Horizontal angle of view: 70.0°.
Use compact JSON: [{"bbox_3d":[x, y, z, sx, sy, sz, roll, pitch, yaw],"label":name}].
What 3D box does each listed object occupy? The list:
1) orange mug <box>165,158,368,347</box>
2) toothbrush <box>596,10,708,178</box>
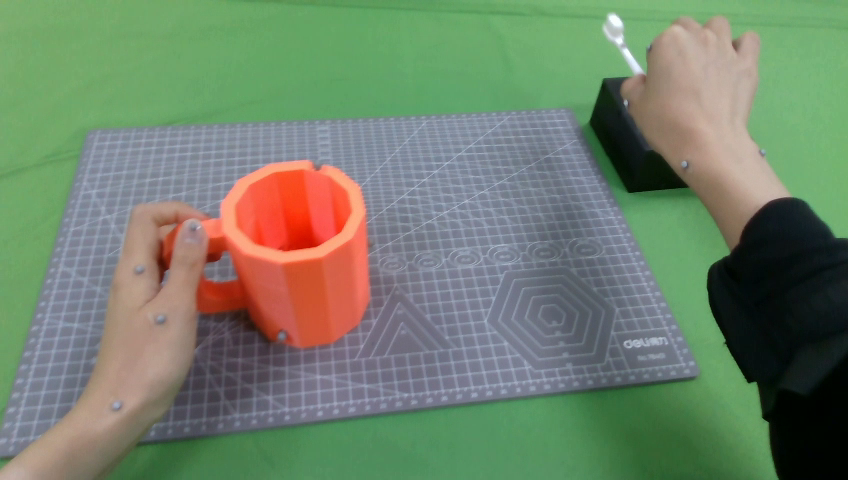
[{"bbox_3d":[-0.098,0.012,0.399,0.126,0.101,0.082,-6,51,-15],"label":"orange mug"},{"bbox_3d":[0.169,-0.116,0.458,0.014,0.017,0.180,-11,56,-7],"label":"toothbrush"}]
